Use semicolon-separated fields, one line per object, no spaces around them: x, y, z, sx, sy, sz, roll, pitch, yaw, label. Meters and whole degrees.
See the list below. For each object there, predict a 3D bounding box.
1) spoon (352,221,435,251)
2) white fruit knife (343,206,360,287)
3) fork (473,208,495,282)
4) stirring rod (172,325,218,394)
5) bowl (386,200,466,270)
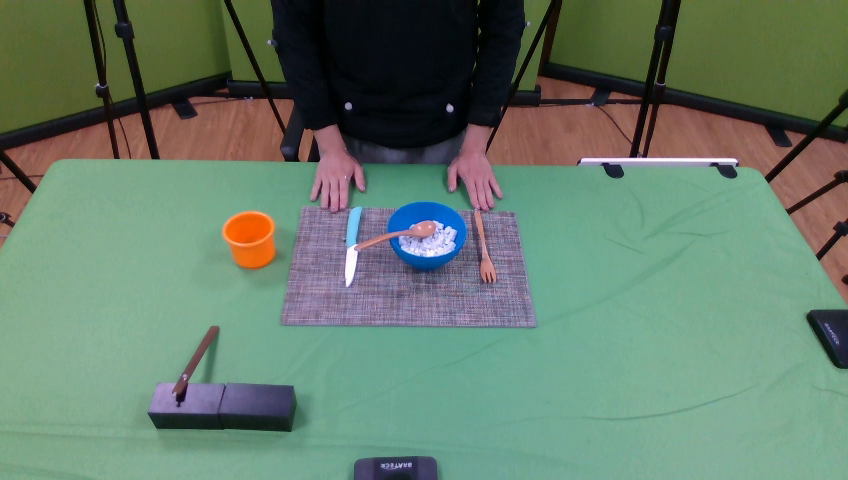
-0.054;-0.008;1.109;0.194;0.022;0.041;-14;40;-42;spoon
-0.143;0.010;1.175;0.027;0.016;0.206;-5;47;5;white fruit knife
0.115;0.007;1.196;0.028;0.019;0.206;-8;48;2;fork
-0.360;0.185;0.962;0.014;0.006;0.175;0;26;1;stirring rod
0.001;0.003;1.150;0.151;0.077;0.150;2;46;-2;bowl
